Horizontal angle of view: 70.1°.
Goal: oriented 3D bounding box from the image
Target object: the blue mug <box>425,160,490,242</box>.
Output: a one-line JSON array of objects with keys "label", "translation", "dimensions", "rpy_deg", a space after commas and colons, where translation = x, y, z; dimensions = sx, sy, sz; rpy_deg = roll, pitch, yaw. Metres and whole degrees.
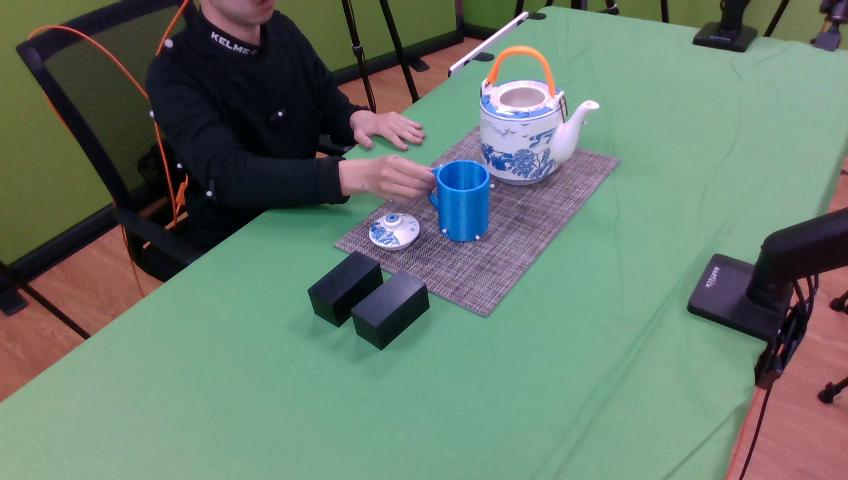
[{"label": "blue mug", "translation": [0.049, -0.068, 0.965], "dimensions": [0.115, 0.106, 0.082], "rpy_deg": [26, 51, 27]}]

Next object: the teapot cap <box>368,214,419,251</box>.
[{"label": "teapot cap", "translation": [-0.050, -0.018, 0.975], "dimensions": [0.085, 0.044, 0.085], "rpy_deg": [-4, 42, 4]}]

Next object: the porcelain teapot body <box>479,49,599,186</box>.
[{"label": "porcelain teapot body", "translation": [0.192, -0.208, 1.023], "dimensions": [0.204, 0.226, 0.145], "rpy_deg": [16, 46, 25]}]
